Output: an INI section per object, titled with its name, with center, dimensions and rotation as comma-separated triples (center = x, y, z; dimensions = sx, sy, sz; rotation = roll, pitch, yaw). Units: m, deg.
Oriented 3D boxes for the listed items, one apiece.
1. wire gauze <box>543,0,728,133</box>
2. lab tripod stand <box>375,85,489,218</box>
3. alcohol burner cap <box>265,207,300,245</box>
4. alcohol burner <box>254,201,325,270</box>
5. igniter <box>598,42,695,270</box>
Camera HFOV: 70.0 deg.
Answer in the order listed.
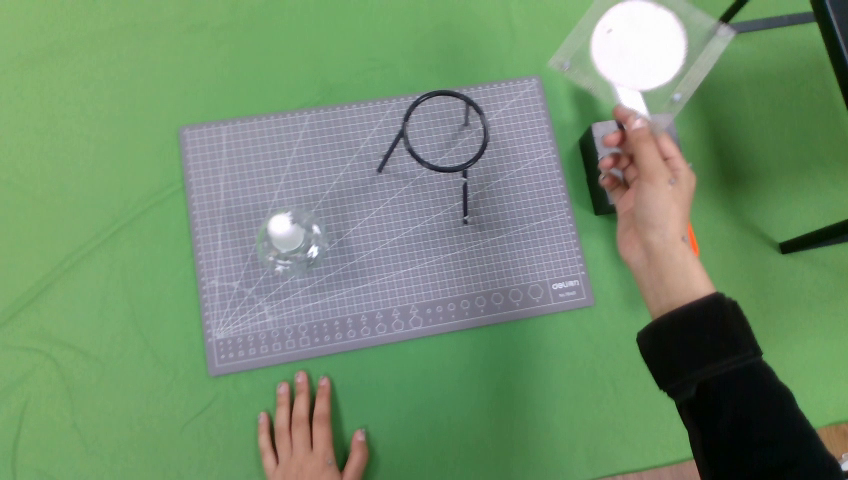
[wire gauze]
center = 0.192, -0.175, 0.546
dimensions = 0.121, 0.011, 0.125
rotation = 37, 85, 3
[lab tripod stand]
center = 0.018, -0.106, 0.673
dimensions = 0.148, 0.132, 0.147
rotation = 1, 77, -3
[alcohol burner cap]
center = -0.146, -0.017, 0.617
dimensions = 0.034, 0.048, 0.033
rotation = 1, 72, -3
[alcohol burner]
center = -0.147, -0.008, 0.652
dimensions = 0.078, 0.119, 0.077
rotation = 1, 80, -4
[igniter]
center = 0.256, -0.101, 0.699
dimensions = 0.057, 0.025, 0.275
rotation = -13, 78, -4
